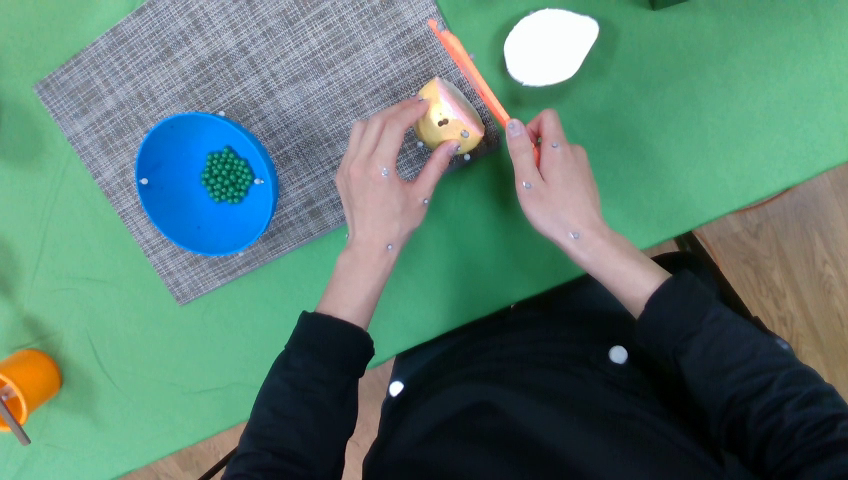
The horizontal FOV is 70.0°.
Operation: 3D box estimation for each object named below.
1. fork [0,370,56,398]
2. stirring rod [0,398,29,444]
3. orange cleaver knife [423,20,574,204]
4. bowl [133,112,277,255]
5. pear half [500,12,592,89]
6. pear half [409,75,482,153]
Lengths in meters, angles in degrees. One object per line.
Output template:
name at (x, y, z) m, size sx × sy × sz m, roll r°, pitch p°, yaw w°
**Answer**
fork at (-0.590, 0.212, 0.778) m, size 0.208 × 0.018 × 0.028 m, roll -19°, pitch 121°, yaw -30°
stirring rod at (-0.549, 0.184, 0.759) m, size 0.014 × 0.006 × 0.177 m, roll -21°, pitch 105°, yaw 15°
orange cleaver knife at (0.071, -0.115, 0.557) m, size 0.012 × 0.076 × 0.213 m, roll -40°, pitch 117°, yaw 11°
bowl at (-0.221, -0.066, 0.652) m, size 0.151 × 0.076 × 0.152 m, roll 3°, pitch 110°, yaw 9°
pear half at (0.117, -0.182, 0.581) m, size 0.088 × 0.031 × 0.070 m, roll -18°, pitch 94°, yaw 15°
pear half at (0.014, -0.112, 0.579) m, size 0.076 × 0.109 × 0.056 m, roll 45°, pitch 111°, yaw -2°
